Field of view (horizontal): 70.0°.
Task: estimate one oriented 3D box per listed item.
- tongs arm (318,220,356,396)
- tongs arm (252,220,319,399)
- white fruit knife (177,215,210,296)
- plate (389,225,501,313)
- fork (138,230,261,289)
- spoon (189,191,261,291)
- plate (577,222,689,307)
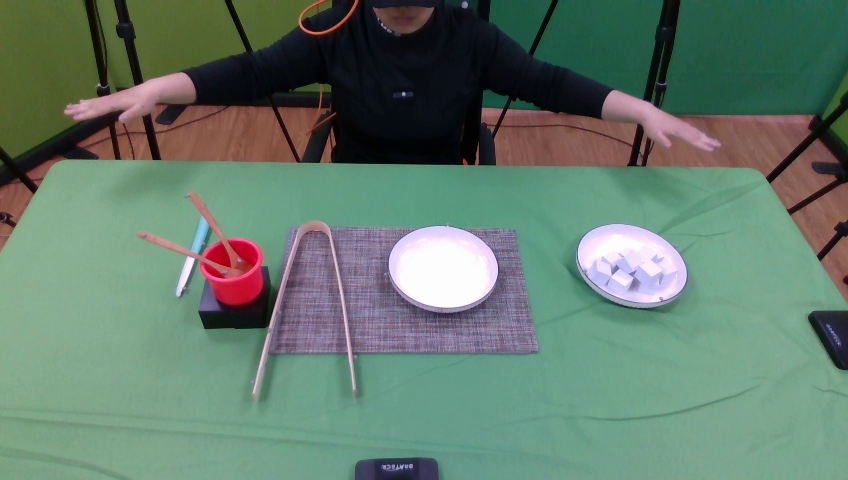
[{"bbox_3d":[-0.154,0.103,1.074,0.028,0.028,0.385,-11,47,-7],"label":"tongs arm"},{"bbox_3d":[-0.237,0.105,1.067,0.051,0.026,0.382,1,46,0],"label":"tongs arm"},{"bbox_3d":[-0.435,0.025,1.148,0.027,0.016,0.206,-18,45,19],"label":"white fruit knife"},{"bbox_3d":[0.038,0.057,1.128,0.208,0.039,0.206,2,46,-2],"label":"plate"},{"bbox_3d":[-0.360,0.032,0.981,0.208,0.018,0.028,31,60,-30],"label":"fork"},{"bbox_3d":[-0.333,0.001,1.011,0.041,0.194,0.021,-34,14,-25],"label":"spoon"},{"bbox_3d":[0.396,0.050,1.165,0.209,0.038,0.208,2,47,-2],"label":"plate"}]
